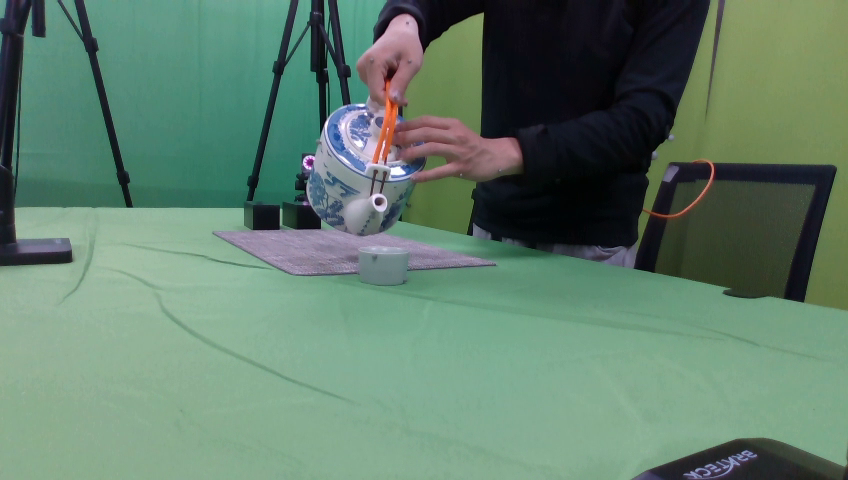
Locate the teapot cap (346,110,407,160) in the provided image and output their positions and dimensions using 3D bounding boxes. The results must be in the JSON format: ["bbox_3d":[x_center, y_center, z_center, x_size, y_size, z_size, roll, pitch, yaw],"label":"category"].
[{"bbox_3d":[-0.060,-0.142,0.794,0.085,0.085,0.043,-1,-32,-24],"label":"teapot cap"}]

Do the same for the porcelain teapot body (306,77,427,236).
[{"bbox_3d":[-0.069,-0.095,0.808,0.146,0.205,0.225,8,-37,-20],"label":"porcelain teapot body"}]

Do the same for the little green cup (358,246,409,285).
[{"bbox_3d":[-0.048,0.030,0.707,0.061,0.038,0.061,2,8,0],"label":"little green cup"}]
